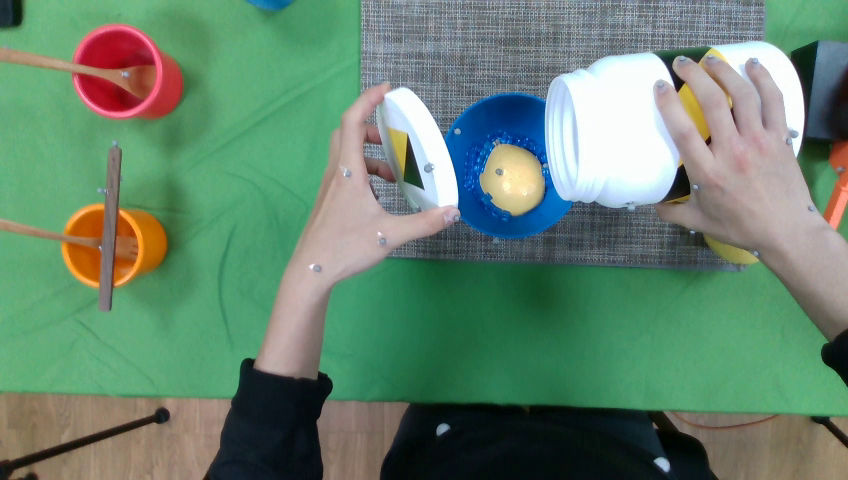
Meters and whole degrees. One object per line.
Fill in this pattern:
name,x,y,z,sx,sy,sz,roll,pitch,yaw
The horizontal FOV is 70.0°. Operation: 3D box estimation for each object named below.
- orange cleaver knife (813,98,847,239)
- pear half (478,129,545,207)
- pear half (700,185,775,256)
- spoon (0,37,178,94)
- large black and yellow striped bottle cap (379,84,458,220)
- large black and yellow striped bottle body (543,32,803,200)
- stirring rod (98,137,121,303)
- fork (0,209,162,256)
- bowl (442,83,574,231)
orange cleaver knife,0.454,-0.102,0.648,0.012,0.076,0.213,5,124,6
pear half,0.093,-0.080,0.652,0.070,0.031,0.088,-24,92,1
pear half,0.331,-0.018,0.642,0.056,0.110,0.076,-17,91,4
spoon,-0.357,-0.188,0.629,0.195,0.021,0.041,3,99,-42
large black and yellow striped bottle cap,-0.007,-0.072,0.508,0.019,0.114,0.115,-24,94,-15
large black and yellow striped bottle body,0.208,-0.105,0.532,0.184,0.130,0.131,-7,95,-2
stirring rod,-0.332,-0.020,0.639,0.014,0.006,0.176,6,96,-2
fork,-0.385,-0.014,0.642,0.209,0.018,0.028,16,107,-44
bowl,0.090,-0.087,0.656,0.151,0.076,0.151,0,96,2
